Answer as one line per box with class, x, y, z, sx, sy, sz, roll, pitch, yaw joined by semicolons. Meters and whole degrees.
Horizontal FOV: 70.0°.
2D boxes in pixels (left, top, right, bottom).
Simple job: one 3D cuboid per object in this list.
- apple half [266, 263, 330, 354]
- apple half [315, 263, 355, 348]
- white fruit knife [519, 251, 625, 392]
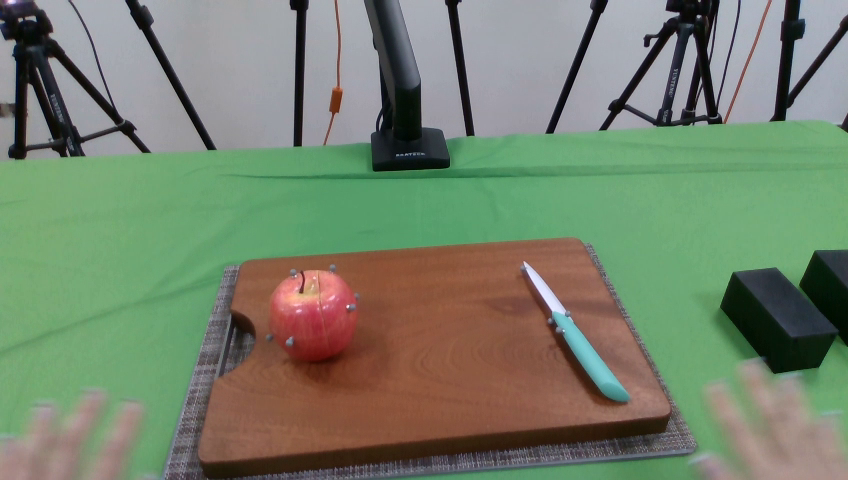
apple half;-0.118;0.067;0.564;0.053;0.075;0.080;-11;42;-7
apple half;-0.080;0.060;0.569;0.033;0.082;0.080;-11;38;-7
white fruit knife;0.137;0.071;0.604;0.027;0.016;0.205;17;27;-28
